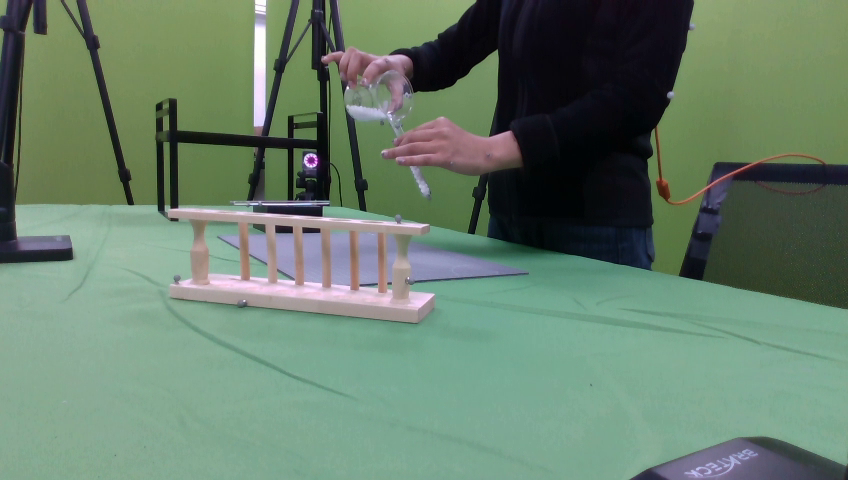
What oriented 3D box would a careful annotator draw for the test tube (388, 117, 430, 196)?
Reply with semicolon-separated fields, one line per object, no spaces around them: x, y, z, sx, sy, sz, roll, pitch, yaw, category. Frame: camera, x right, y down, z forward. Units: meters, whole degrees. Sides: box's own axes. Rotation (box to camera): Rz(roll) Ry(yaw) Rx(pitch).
-0.023;-0.127;0.911;0.017;0.149;0.017;-19;-27;-10;test tube

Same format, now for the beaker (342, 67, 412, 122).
-0.078;-0.228;0.976;0.074;0.084;0.100;-3;6;-40;beaker

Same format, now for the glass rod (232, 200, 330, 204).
-0.266;-0.071;1.146;0.201;0.008;0.008;-4;9;-40;glass rod

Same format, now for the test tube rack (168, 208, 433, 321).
-0.115;0.017;0.574;0.242;0.085;0.067;4;8;13;test tube rack
